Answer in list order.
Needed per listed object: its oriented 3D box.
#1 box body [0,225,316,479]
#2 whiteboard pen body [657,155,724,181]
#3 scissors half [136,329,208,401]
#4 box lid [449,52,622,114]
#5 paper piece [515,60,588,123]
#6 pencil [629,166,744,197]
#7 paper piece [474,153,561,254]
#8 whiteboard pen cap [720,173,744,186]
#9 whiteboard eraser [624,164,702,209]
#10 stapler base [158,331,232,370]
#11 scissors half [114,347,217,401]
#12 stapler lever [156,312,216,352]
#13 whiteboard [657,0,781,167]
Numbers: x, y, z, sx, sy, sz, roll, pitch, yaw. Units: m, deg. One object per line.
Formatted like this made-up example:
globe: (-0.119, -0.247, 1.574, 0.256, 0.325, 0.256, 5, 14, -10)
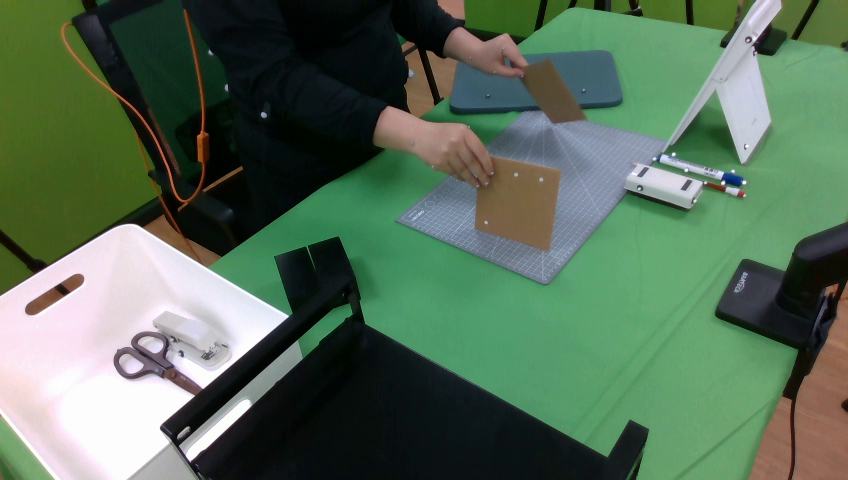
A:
box body: (-0.339, 0.162, 0.728, 0.361, 0.161, 0.255, 23, 48, 31)
whiteboard pen body: (0.475, -0.123, 1.051, 0.139, 0.017, 0.017, 24, 49, 32)
scissors half: (-0.336, 0.172, 0.822, 0.174, 0.013, 0.040, 34, 56, 31)
box lid: (0.250, -0.358, 1.370, 0.371, 0.015, 0.262, -1, 40, 9)
paper piece: (0.240, -0.275, 1.140, 0.004, 0.136, 0.134, -43, 20, -9)
pencil: (0.447, -0.103, 1.038, 0.192, 0.012, 0.012, 21, 48, 30)
paper piece: (0.140, -0.057, 0.932, 0.137, 0.136, 0.009, 19, 32, 27)
whiteboard pen cap: (0.519, -0.102, 1.020, 0.033, 0.018, 0.018, 23, 49, 31)
whiteboard eraser: (0.396, -0.086, 1.003, 0.112, 0.042, 0.056, 23, 47, 31)
stapler base: (-0.325, 0.142, 0.849, 0.129, 0.024, 0.041, 17, 41, 33)
scissors half: (-0.348, 0.185, 0.811, 0.174, 0.013, 0.040, 15, 53, 19)
stapler lever: (-0.331, 0.121, 0.835, 0.117, 0.040, 0.027, 16, 41, 33)
whiteboard: (0.571, -0.272, 1.038, 0.143, 0.306, 0.218, 37, 54, 17)
